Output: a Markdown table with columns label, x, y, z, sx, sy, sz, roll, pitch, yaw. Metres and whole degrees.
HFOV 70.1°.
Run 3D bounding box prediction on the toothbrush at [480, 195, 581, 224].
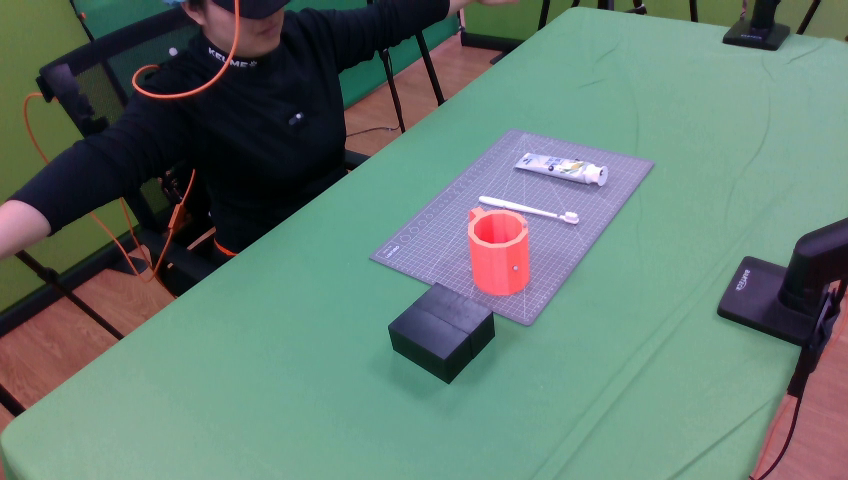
| label | x | y | z | sx | sy | sz | roll | pitch | yaw |
| --- | --- | --- | --- | --- | --- | --- | --- | --- | --- |
| toothbrush | 0.175 | -0.054 | 1.016 | 0.180 | 0.017 | 0.014 | 15 | 59 | 29 |

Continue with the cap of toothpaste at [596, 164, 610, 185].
| label | x | y | z | sx | sy | sz | roll | pitch | yaw |
| --- | --- | --- | --- | --- | --- | --- | --- | --- | --- |
| cap of toothpaste | 0.307 | -0.113 | 1.041 | 0.011 | 0.037 | 0.037 | 20 | 48 | 39 |

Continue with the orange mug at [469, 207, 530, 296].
| label | x | y | z | sx | sy | sz | roll | pitch | yaw |
| --- | --- | --- | --- | --- | --- | --- | --- | --- | --- |
| orange mug | 0.104 | 0.008 | 0.894 | 0.084 | 0.101 | 0.125 | -22 | 46 | -14 |

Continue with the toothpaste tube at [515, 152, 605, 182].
| label | x | y | z | sx | sy | sz | roll | pitch | yaw |
| --- | --- | --- | --- | --- | --- | --- | --- | --- | --- |
| toothpaste tube | 0.248 | -0.133 | 1.087 | 0.164 | 0.034 | 0.055 | 17 | 42 | 34 |
